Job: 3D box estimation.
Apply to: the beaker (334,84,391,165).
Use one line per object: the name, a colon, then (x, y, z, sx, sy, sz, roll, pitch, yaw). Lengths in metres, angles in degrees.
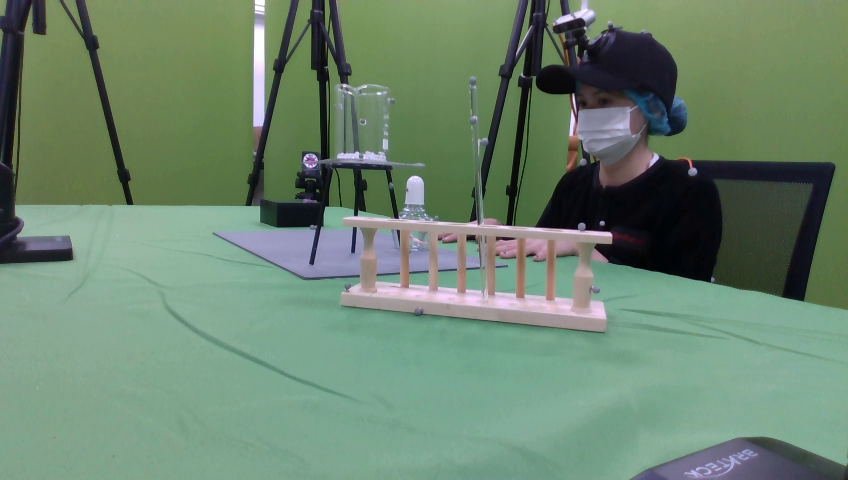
beaker: (-0.082, -0.149, 0.792, 0.074, 0.100, 0.084, 2, 5, 5)

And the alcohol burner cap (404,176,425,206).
alcohol burner cap: (-0.015, -0.077, 0.951, 0.034, 0.048, 0.034, 2, 4, 0)

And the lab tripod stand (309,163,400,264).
lab tripod stand: (-0.091, -0.037, 0.813, 0.148, 0.131, 0.148, 1, 6, 0)

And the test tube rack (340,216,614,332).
test tube rack: (0.048, 0.026, 0.568, 0.242, 0.085, 0.067, 4, 8, 13)

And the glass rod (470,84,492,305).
glass rod: (0.051, -0.036, 0.535, 0.008, 0.199, 0.008, -5, 10, 1)

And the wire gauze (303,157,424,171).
wire gauze: (-0.082, -0.101, 0.799, 0.126, 0.011, 0.121, 1, 7, -30)

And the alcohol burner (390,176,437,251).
alcohol burner: (-0.016, -0.042, 0.955, 0.078, 0.119, 0.078, 4, 5, 0)
